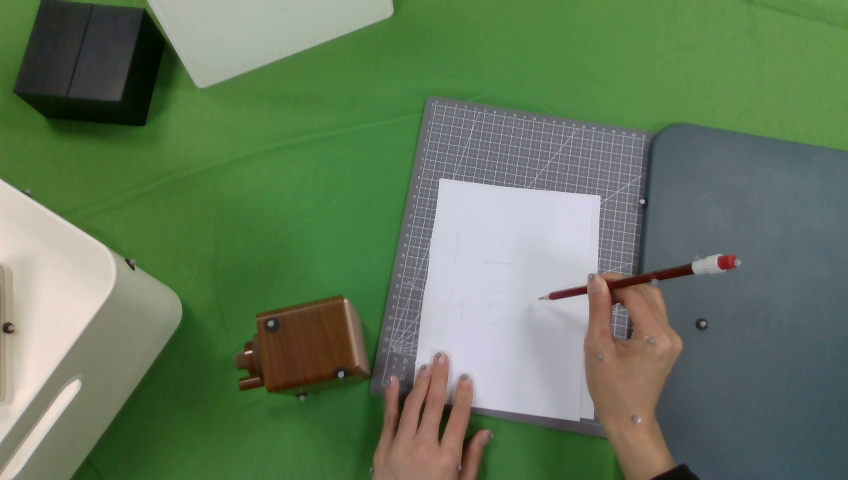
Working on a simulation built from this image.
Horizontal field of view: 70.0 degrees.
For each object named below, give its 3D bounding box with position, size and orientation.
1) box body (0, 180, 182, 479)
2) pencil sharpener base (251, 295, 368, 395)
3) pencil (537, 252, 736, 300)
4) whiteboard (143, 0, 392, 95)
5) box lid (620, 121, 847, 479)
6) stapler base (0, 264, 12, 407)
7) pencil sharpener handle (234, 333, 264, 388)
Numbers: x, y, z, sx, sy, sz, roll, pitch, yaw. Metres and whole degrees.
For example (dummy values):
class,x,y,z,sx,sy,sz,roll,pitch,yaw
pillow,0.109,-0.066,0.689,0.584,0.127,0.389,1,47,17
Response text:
class,x,y,z,sx,sy,sz,roll,pitch,yaw
box body,-0.414,0.051,0.470,0.363,0.161,0.253,30,77,7
pencil sharpener base,-0.091,0.089,0.496,0.077,0.107,0.061,-12,75,-4
pencil,0.151,0.032,0.471,0.012,0.193,0.012,8,74,-28
whiteboard,-0.176,-0.323,0.534,0.217,0.308,0.142,-23,57,-7
box lid,0.324,0.071,0.560,0.263,0.015,0.369,9,75,0
stapler base,-0.388,0.082,0.528,0.041,0.024,0.130,-11,77,-2
pencil sharpener handle,-0.140,0.101,0.479,0.031,0.068,0.035,-12,59,-4
